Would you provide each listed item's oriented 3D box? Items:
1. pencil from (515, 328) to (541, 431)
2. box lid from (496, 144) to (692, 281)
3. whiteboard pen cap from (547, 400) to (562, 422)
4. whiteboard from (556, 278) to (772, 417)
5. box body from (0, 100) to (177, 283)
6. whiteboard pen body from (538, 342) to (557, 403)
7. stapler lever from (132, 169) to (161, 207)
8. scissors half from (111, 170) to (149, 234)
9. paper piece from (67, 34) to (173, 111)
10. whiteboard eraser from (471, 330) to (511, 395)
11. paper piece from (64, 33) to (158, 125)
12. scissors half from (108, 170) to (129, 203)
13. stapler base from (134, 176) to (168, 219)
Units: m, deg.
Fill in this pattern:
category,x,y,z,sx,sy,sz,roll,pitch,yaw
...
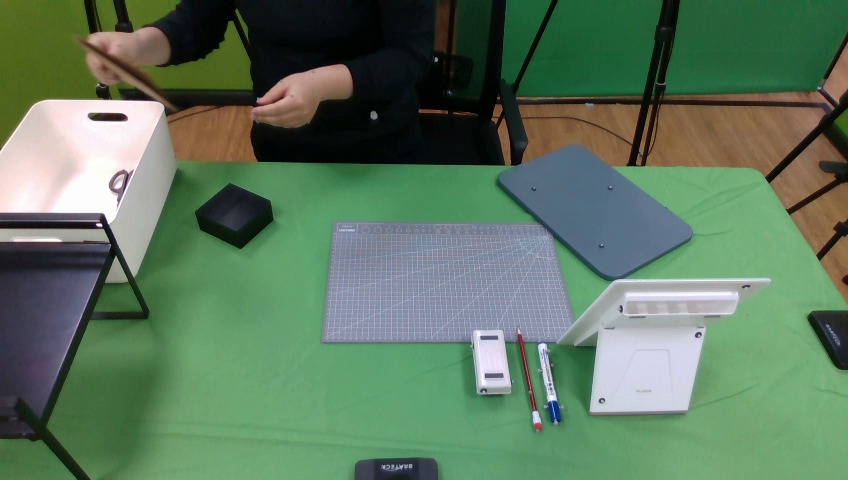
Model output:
category,x,y,z,sx,sy,sz,roll,pitch,yaw
pencil,0.169,0.224,1.002,0.012,0.012,0.192,-1,46,-6
box lid,0.360,-0.073,1.305,0.263,0.015,0.369,-24,52,-25
whiteboard pen cap,0.205,0.269,0.956,0.018,0.018,0.033,0,47,-5
whiteboard,0.347,0.174,0.903,0.217,0.306,0.143,1,65,-4
box body,-0.639,-0.095,1.140,0.254,0.161,0.361,0,46,-4
whiteboard pen body,0.205,0.228,0.997,0.017,0.017,0.140,1,46,-3
stapler lever,-0.557,-0.113,1.218,0.027,0.040,0.117,1,42,-8
scissors half,-0.596,-0.078,1.223,0.040,0.013,0.174,5,51,2
paper piece,-0.482,-0.266,0.971,0.135,0.136,0.004,29,79,5
whiteboard eraser,0.110,0.202,0.998,0.055,0.042,0.112,1,46,-5
paper piece,-0.493,-0.251,0.965,0.008,0.138,0.135,-42,81,-8
scissors half,-0.617,-0.077,1.222,0.040,0.013,0.174,-15,52,-8
stapler base,-0.558,-0.093,1.234,0.041,0.024,0.129,1,42,-8
